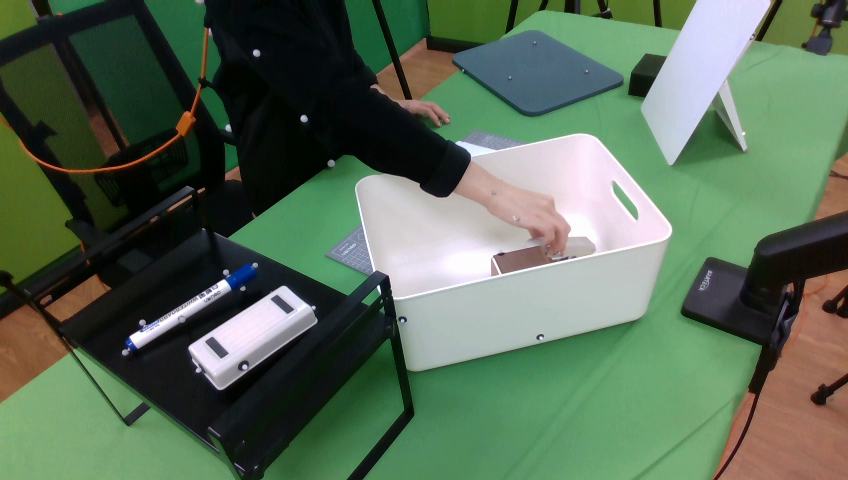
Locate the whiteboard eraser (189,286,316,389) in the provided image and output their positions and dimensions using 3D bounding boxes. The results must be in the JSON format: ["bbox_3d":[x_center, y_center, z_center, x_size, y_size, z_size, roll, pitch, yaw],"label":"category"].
[{"bbox_3d":[-0.166,0.096,0.593,0.113,0.042,0.055,-36,47,-29],"label":"whiteboard eraser"}]

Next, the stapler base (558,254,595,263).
[{"bbox_3d":[0.194,0.031,0.887,0.131,0.024,0.041,-13,43,-18],"label":"stapler base"}]

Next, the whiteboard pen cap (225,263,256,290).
[{"bbox_3d":[-0.204,0.041,0.668,0.033,0.018,0.018,-36,48,-22],"label":"whiteboard pen cap"}]

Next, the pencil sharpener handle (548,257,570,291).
[{"bbox_3d":[0.182,0.045,0.801,0.031,0.068,0.035,-12,56,-7],"label":"pencil sharpener handle"}]

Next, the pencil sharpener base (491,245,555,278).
[{"bbox_3d":[0.134,0.068,0.800,0.077,0.107,0.061,-12,42,-7],"label":"pencil sharpener base"}]

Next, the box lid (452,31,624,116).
[{"bbox_3d":[0.256,-0.401,1.419,0.264,0.015,0.368,-22,43,-17],"label":"box lid"}]

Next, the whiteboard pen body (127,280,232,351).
[{"bbox_3d":[-0.248,0.072,0.645,0.141,0.017,0.017,-35,47,-23],"label":"whiteboard pen body"}]

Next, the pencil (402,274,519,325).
[{"bbox_3d":[0.056,0.082,0.871,0.195,0.012,0.012,-20,42,-20],"label":"pencil"}]

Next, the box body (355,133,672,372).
[{"bbox_3d":[0.108,0.013,0.834,0.365,0.161,0.252,-12,41,-6],"label":"box body"}]

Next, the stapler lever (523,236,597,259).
[{"bbox_3d":[0.196,0.010,0.871,0.118,0.040,0.026,-12,43,-18],"label":"stapler lever"}]

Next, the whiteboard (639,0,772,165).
[{"bbox_3d":[0.543,-0.298,1.076,0.144,0.305,0.216,12,40,-7],"label":"whiteboard"}]
